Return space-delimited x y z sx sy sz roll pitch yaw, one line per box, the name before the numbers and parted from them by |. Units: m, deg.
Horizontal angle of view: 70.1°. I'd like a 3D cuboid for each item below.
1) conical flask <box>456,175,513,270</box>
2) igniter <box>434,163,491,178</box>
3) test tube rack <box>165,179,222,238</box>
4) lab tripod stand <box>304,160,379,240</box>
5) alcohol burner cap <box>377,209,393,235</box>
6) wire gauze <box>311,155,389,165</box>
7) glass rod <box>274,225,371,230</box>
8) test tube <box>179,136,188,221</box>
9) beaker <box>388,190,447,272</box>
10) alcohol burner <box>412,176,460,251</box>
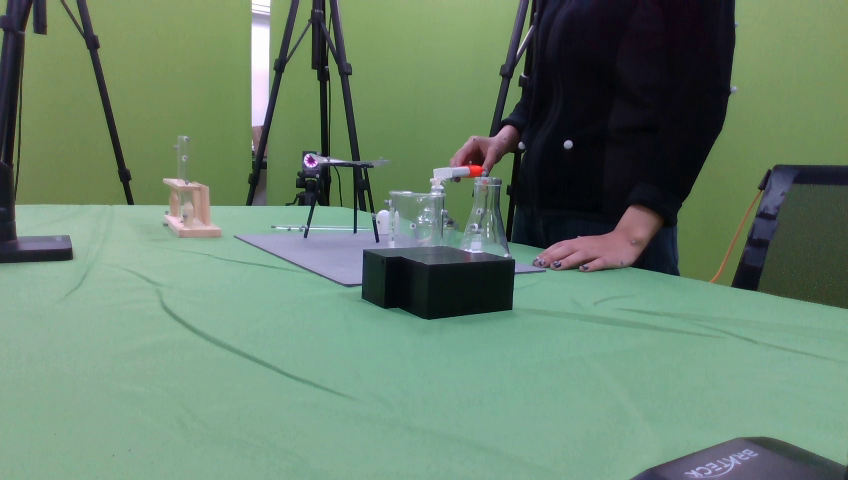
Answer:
conical flask | 0.083 -0.025 0.801 0.075 0.122 0.075 2 7 0
igniter | 0.075 -0.127 1.097 0.057 0.025 0.277 -3 6 19
test tube rack | -0.423 -0.062 1.098 0.067 0.085 0.241 -2 9 -28
lab tripod stand | -0.131 -0.071 1.046 0.148 0.131 0.148 4 7 0
alcohol burner cap | -0.076 -0.035 1.145 0.034 0.048 0.034 2 7 0
wire gauze | -0.128 -0.137 1.042 0.122 0.011 0.124 1 8 -18
glass rod | -0.193 -0.024 1.176 0.201 0.008 0.008 1 6 -31
test tube | -0.425 -0.108 1.070 0.017 0.150 0.017 4 9 0
beaker | -0.010 -0.013 0.771 0.074 0.100 0.084 3 7 4
alcohol burner | 0.020 -0.043 0.958 0.078 0.119 0.078 4 9 0
